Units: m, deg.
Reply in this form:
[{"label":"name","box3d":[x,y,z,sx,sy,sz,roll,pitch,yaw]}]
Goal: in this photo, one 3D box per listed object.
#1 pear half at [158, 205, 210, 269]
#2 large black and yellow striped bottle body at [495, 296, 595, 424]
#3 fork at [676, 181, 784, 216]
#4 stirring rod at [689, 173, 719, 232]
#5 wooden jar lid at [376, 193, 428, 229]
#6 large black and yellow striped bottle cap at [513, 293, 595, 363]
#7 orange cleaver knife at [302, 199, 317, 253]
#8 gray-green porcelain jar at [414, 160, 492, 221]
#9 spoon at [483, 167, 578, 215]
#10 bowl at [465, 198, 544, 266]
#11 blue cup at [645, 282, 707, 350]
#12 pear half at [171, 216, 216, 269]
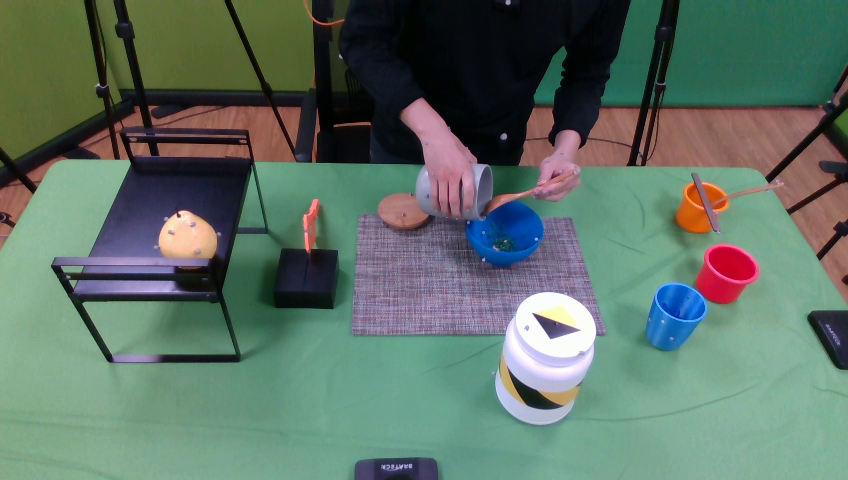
[{"label":"pear half","box3d":[-0.352,-0.015,0.872,0.056,0.110,0.076,26,46,19]},{"label":"large black and yellow striped bottle body","box3d":[0.183,0.182,0.923,0.131,0.185,0.130,2,46,-2]},{"label":"fork","box3d":[0.618,-0.084,1.235,0.207,0.019,0.028,-23,21,38]},{"label":"stirring rod","box3d":[0.566,-0.079,1.225,0.014,0.006,0.175,2,45,2]},{"label":"wooden jar lid","box3d":[-0.044,-0.059,1.246,0.108,0.021,0.107,3,40,-3]},{"label":"large black and yellow striped bottle cap","box3d":[0.186,0.123,0.863,0.115,0.019,0.114,3,45,-3]},{"label":"orange cleaver knife","box3d":[-0.219,-0.031,1.168,0.012,0.077,0.210,-4,17,-3]},{"label":"gray-green porcelain jar","box3d":[0.053,-0.094,1.131,0.126,0.106,0.105,7,45,21]},{"label":"spoon","box3d":[0.188,-0.089,1.091,0.193,0.022,0.041,-20,26,27]},{"label":"bowl","box3d":[0.149,-0.004,1.167,0.151,0.077,0.150,2,46,-2]},{"label":"blue cup","box3d":[0.425,0.136,1.042,0.093,0.101,0.092,1,45,-1]},{"label":"pear half","box3d":[-0.323,0.007,0.866,0.031,0.088,0.070,25,46,20]}]
